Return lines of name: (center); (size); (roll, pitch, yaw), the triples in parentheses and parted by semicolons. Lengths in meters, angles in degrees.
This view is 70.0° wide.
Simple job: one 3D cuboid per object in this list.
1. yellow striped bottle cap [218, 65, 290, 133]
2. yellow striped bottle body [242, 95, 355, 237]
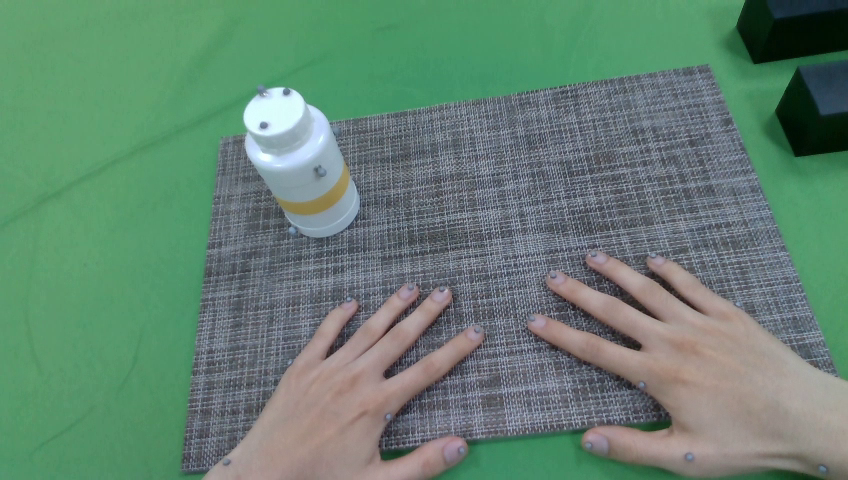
yellow striped bottle cap: (-0.112, -0.093, 0.401); (0.044, 0.019, 0.044); (-4, 68, 10)
yellow striped bottle body: (-0.097, -0.058, 0.465); (0.063, 0.121, 0.062); (-4, 60, 7)
